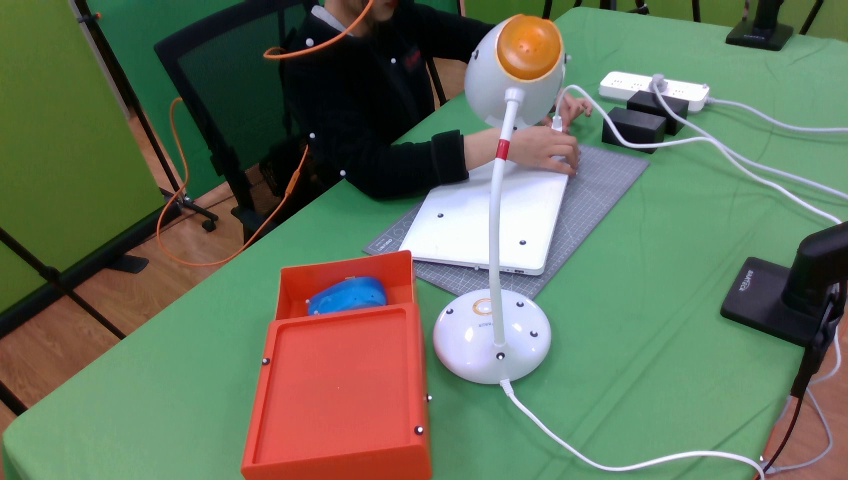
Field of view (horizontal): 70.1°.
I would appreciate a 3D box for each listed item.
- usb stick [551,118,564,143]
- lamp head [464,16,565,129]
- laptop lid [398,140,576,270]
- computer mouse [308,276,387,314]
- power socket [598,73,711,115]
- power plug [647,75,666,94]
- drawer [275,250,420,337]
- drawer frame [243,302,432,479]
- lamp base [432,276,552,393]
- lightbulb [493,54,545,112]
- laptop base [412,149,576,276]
[{"bbox_3d":[0.254,-0.204,1.154,0.021,0.027,0.059,6,55,14],"label":"usb stick"},{"bbox_3d":[0.101,-0.184,0.655,0.112,0.112,0.123,-9,1,0],"label":"lamp head"},{"bbox_3d":[0.119,-0.078,1.042,0.240,0.013,0.356,6,42,21],"label":"laptop lid"},{"bbox_3d":[-0.113,0.089,0.881,0.117,0.041,0.062,-16,42,-1],"label":"computer mouse"},{"bbox_3d":[0.470,-0.303,1.248,0.225,0.033,0.072,20,49,30],"label":"power socket"},{"bbox_3d":[0.457,-0.301,1.212,0.073,0.053,0.035,-36,46,-28],"label":"power plug"},{"bbox_3d":[-0.104,0.117,0.825,0.194,0.073,0.210,-8,40,1],"label":"drawer"},{"bbox_3d":[-0.096,0.185,0.738,0.202,0.083,0.212,-8,40,1],"label":"drawer frame"},{"bbox_3d":[0.085,0.075,0.756,0.161,0.181,0.178,-14,44,-6],"label":"lamp base"},{"bbox_3d":[0.110,-0.181,0.679,0.059,0.059,0.107,-10,-3,0],"label":"lightbulb"},{"bbox_3d":[0.123,-0.069,1.049,0.234,0.023,0.354,4,42,20],"label":"laptop base"}]
